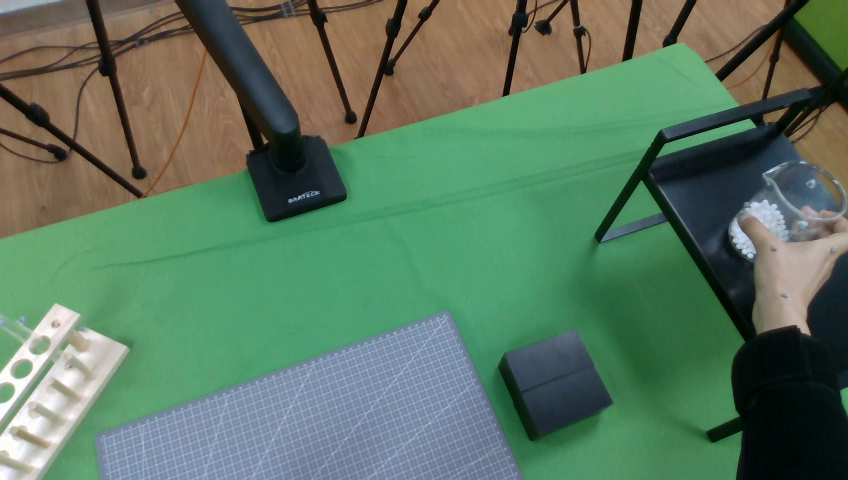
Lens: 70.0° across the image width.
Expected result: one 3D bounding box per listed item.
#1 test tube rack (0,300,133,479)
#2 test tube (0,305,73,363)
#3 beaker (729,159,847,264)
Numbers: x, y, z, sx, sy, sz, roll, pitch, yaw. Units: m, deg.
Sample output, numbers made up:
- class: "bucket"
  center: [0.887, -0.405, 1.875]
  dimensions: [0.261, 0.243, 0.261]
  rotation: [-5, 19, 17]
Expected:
- class: "test tube rack"
  center: [-0.439, 0.196, 0.671]
  dimensions: [0.066, 0.086, 0.241]
  rotation: [23, 63, 8]
- class: "test tube"
  center: [-0.426, 0.105, 0.663]
  dimensions: [0.017, 0.151, 0.017]
  rotation: [0, 61, 0]
- class: "beaker"
  center: [0.377, -0.027, 0.641]
  dimensions: [0.084, 0.101, 0.073]
  rotation: [25, 59, 9]
